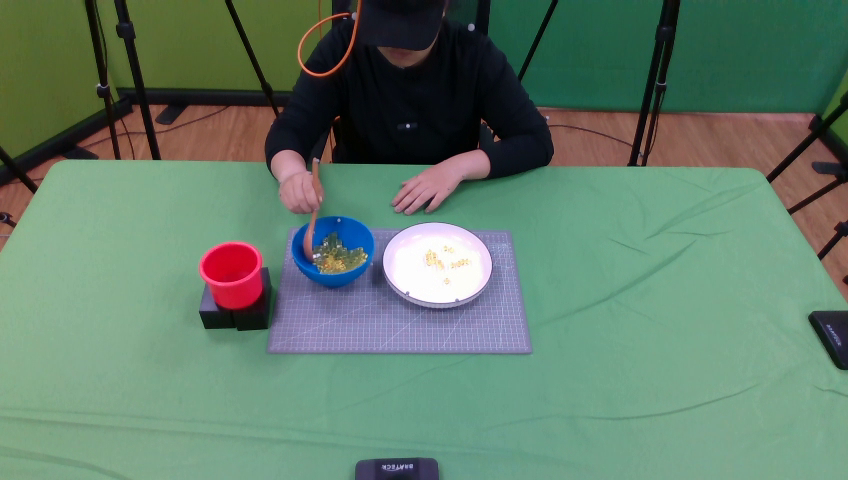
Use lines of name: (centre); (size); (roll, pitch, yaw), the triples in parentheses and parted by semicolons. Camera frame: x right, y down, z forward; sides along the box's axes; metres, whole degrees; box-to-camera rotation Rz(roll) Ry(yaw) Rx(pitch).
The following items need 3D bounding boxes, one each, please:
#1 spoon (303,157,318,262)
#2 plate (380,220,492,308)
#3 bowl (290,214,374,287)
spoon: (-0.199, -0.053, 1.078); (0.022, 0.194, 0.041); (2, 18, -24)
plate: (0.022, 0.048, 1.137); (0.208, 0.039, 0.206); (2, 46, -2)
bowl: (-0.165, 0.032, 1.111); (0.151, 0.077, 0.150); (2, 46, -2)
